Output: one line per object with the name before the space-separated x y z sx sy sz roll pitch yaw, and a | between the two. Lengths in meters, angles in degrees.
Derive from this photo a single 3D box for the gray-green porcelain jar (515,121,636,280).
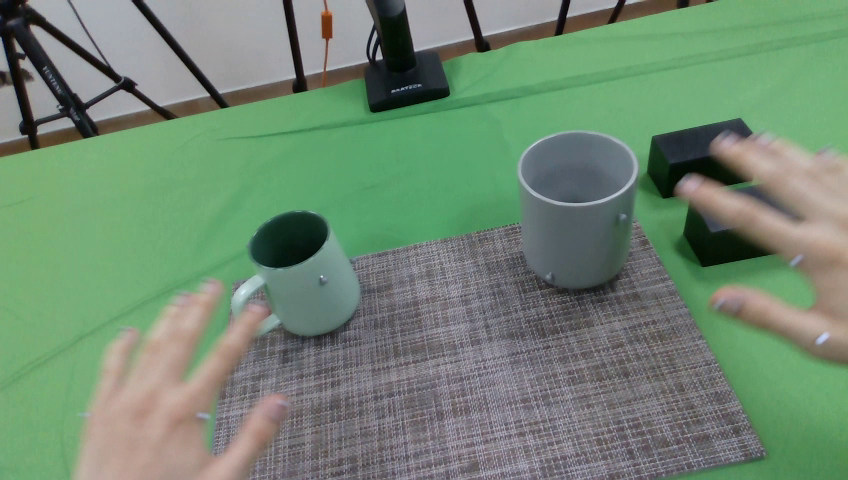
gray-green porcelain jar | 0.143 -0.032 0.582 0.106 0.128 0.105 -6 47 7

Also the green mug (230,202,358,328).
green mug | -0.131 0.036 0.593 0.091 0.106 0.125 31 61 33
